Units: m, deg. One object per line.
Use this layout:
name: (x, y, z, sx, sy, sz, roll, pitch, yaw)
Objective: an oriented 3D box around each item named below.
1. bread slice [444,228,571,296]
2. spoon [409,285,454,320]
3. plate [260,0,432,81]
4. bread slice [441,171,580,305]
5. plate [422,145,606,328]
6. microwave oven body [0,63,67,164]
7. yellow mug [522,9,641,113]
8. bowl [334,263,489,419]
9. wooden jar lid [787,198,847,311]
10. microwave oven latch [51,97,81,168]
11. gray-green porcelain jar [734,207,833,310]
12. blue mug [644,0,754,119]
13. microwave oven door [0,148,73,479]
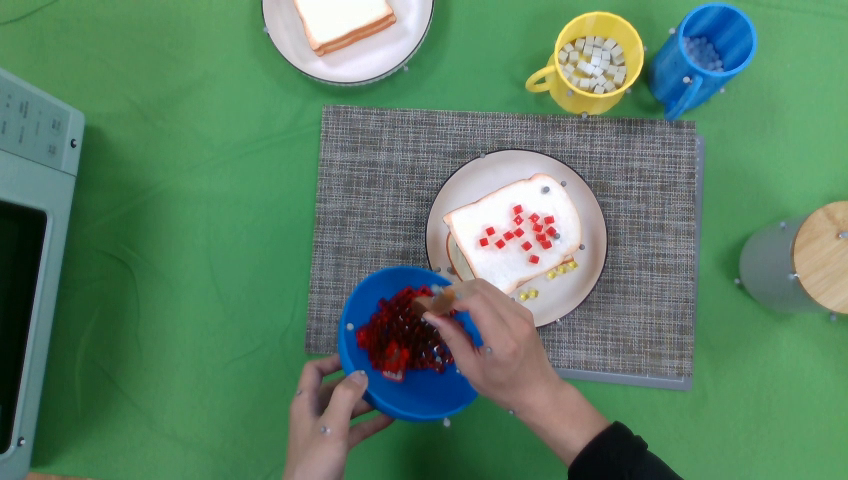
bread slice: (0.092, 0.005, 0.700, 0.131, 0.019, 0.104, -28, 83, -2)
spoon: (0.009, 0.055, 0.512, 0.041, 0.194, 0.021, 28, 82, 0)
plate: (-0.093, -0.290, 0.736, 0.207, 0.039, 0.207, 0, 84, 2)
bread slice: (0.096, -0.012, 0.640, 0.134, 0.018, 0.107, -31, 91, -9)
plate: (0.101, -0.004, 0.698, 0.209, 0.038, 0.208, 0, 84, 2)
microwave oven body: (-0.598, 0.023, 0.607, 0.326, 0.260, 0.440, 6, 85, 2)
yellow mug: (0.178, -0.201, 0.704, 0.131, 0.064, 0.099, -17, 83, 2)
bowl: (-0.022, 0.105, 0.581, 0.152, 0.077, 0.150, 14, 55, -21)
wooden jar lid: (0.400, 0.014, 0.582, 0.108, 0.021, 0.108, 0, 87, 0)
microwave oven latch: (-0.428, -0.127, 0.712, 0.030, 0.029, 0.079, 9, 85, 3)
gray-green porcelain jar: (0.404, 0.022, 0.645, 0.106, 0.127, 0.105, 0, 84, 2)
blue mug: (0.298, -0.191, 0.680, 0.082, 0.106, 0.116, 25, 86, 5)
microwave oven door: (-0.458, 0.080, 0.592, 0.039, 0.244, 0.355, 6, 84, 3)
